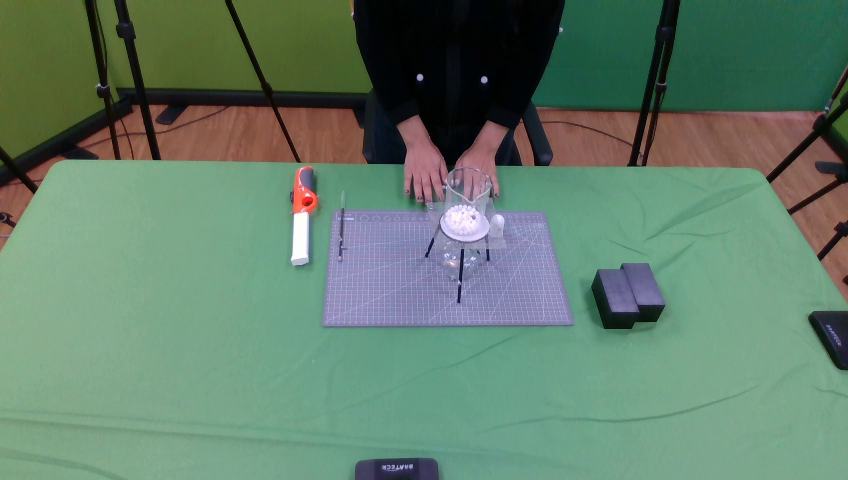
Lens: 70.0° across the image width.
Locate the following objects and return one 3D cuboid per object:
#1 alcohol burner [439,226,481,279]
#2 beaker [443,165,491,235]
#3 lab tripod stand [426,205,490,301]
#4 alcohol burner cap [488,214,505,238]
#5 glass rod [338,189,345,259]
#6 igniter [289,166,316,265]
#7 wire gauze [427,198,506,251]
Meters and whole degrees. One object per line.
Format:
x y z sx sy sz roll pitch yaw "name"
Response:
0.068 0.017 1.119 0.078 0.119 0.077 3 47 -3 "alcohol burner"
0.070 -0.062 1.023 0.074 0.101 0.083 -2 48 -6 "beaker"
0.069 0.017 1.106 0.148 0.132 0.147 3 47 -3 "lab tripod stand"
0.147 -0.031 1.221 0.034 0.048 0.033 2 46 -2 "alcohol burner cap"
-0.166 -0.036 1.227 0.008 0.008 0.198 -1 46 -4 "glass rod"
-0.248 -0.058 1.233 0.057 0.025 0.274 -9 47 1 "igniter"
0.072 -0.028 1.057 0.125 0.011 0.120 -1 49 -8 "wire gauze"
